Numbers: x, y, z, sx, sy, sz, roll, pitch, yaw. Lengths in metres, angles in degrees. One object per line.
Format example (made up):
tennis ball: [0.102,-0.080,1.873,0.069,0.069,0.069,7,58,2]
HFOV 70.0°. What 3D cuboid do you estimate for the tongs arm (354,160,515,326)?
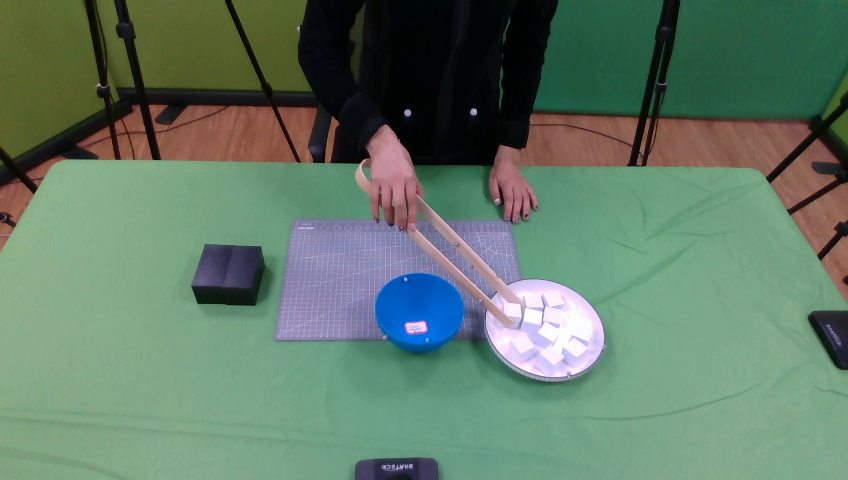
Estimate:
tongs arm: [0.014,0.008,1.047,0.387,0.028,0.028,44,52,3]

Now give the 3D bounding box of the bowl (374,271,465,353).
bowl: [-0.009,0.136,1.024,0.151,0.077,0.150,2,47,-2]

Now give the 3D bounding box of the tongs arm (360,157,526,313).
tongs arm: [0.029,-0.006,1.066,0.384,0.026,0.050,47,49,5]

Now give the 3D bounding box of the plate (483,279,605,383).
plate: [0.204,0.158,1.046,0.208,0.039,0.206,3,47,-3]
